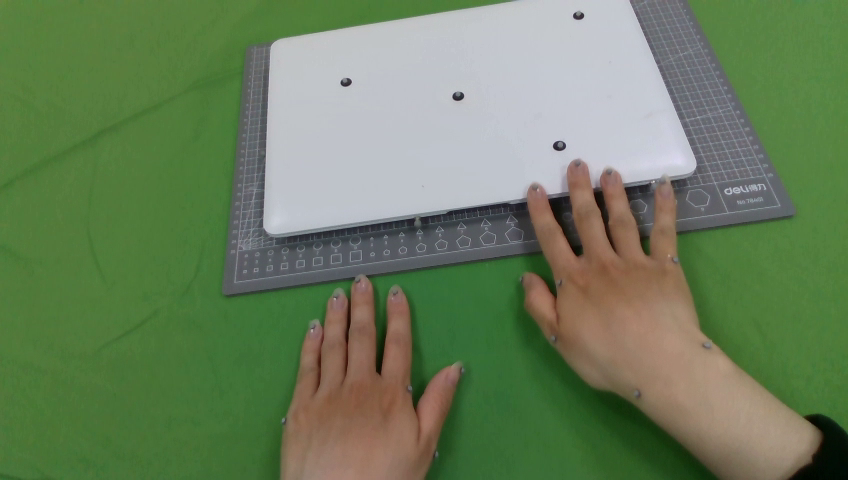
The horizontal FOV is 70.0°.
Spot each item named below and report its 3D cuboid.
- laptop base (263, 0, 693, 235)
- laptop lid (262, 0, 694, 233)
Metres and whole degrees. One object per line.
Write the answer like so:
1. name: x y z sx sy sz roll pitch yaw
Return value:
1. laptop base: 0.032 -0.124 0.550 0.354 0.023 0.233 -8 61 2
2. laptop lid: 0.031 -0.128 0.539 0.357 0.013 0.239 -7 60 3
